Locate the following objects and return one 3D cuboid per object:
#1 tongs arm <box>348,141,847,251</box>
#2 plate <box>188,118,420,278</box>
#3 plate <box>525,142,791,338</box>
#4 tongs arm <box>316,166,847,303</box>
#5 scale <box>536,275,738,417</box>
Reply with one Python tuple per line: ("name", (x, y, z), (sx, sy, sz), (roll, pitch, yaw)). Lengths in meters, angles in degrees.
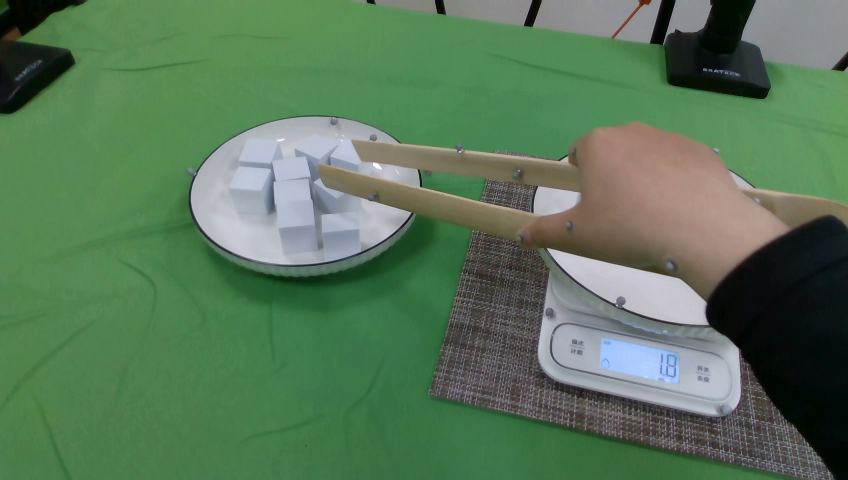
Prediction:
("tongs arm", (0.080, -0.033, 0.420), (0.382, 0.027, 0.050), (12, 46, 34))
("plate", (-0.107, -0.040, 0.565), (0.209, 0.038, 0.207), (2, 46, -2))
("plate", (0.184, -0.002, 0.498), (0.208, 0.039, 0.205), (2, 47, -2))
("tongs arm", (0.064, -0.015, 0.405), (0.384, 0.028, 0.028), (14, 44, 36))
("scale", (0.177, 0.041, 0.502), (0.148, 0.032, 0.199), (11, 48, 9))
